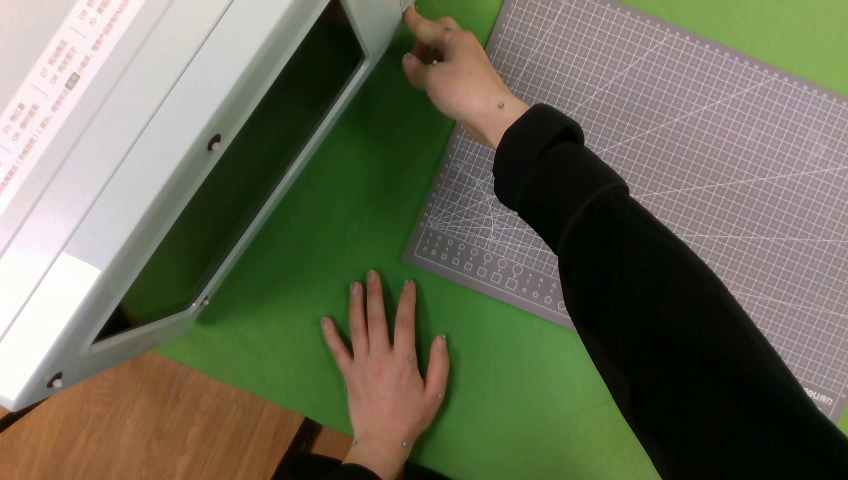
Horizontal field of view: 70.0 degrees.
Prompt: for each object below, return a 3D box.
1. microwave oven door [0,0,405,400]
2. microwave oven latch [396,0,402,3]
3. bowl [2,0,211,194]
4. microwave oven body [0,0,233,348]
[{"bbox_3d":[-0.138,-0.065,0.444,0.039,0.243,0.356,36,94,-1],"label":"microwave oven door"},{"bbox_3d":[-0.006,-0.249,0.530,0.030,0.029,0.079,42,94,-2],"label":"microwave oven latch"},{"bbox_3d":[-0.232,-0.108,0.478,0.151,0.077,0.151,0,91,2],"label":"bowl"},{"bbox_3d":[-0.231,-0.185,0.441,0.326,0.260,0.442,36,94,-2],"label":"microwave oven body"}]
